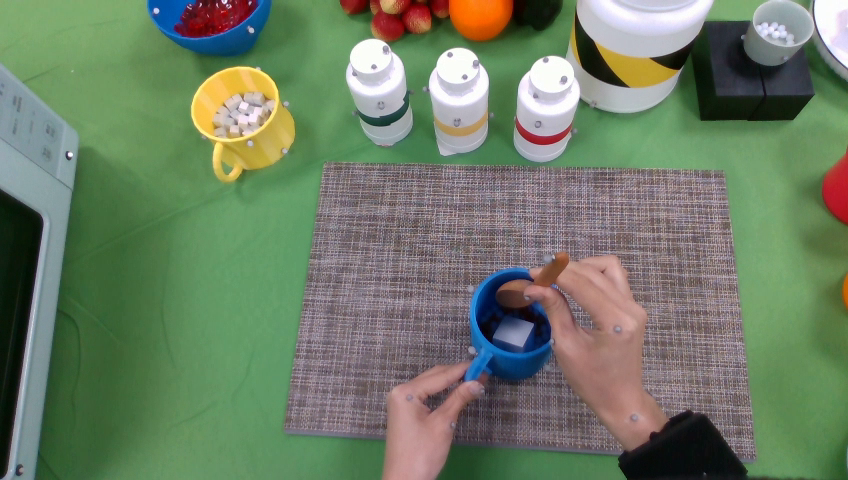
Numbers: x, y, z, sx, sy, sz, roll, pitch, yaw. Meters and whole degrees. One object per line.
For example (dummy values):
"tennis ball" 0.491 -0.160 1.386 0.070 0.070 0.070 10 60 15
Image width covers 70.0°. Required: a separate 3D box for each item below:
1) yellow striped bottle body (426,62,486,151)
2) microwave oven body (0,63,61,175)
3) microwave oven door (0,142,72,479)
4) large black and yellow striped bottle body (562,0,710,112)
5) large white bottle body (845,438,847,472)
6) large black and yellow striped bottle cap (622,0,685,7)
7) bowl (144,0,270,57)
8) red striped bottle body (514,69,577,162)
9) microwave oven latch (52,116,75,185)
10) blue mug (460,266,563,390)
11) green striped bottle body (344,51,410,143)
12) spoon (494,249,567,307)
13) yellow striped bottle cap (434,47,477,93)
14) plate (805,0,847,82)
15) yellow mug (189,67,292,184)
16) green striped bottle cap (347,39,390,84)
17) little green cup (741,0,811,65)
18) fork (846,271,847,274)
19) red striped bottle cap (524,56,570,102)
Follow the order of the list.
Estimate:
"yellow striped bottle body" 0.036 -0.153 0.659 0.063 0.121 0.062 -2 68 5
"microwave oven body" -0.565 0.042 0.553 0.326 0.262 0.438 -7 69 2
"microwave oven door" -0.416 0.062 0.528 0.039 0.245 0.353 -7 68 3
"large black and yellow striped bottle body" 0.222 -0.238 0.642 0.131 0.185 0.130 -2 68 5
"large white bottle body" 0.437 0.176 0.462 0.130 0.186 0.129 -2 68 5
"large black and yellow striped bottle cap" 0.214 -0.268 0.564 0.115 0.019 0.114 -2 67 5
"bowl" -0.258 -0.284 0.757 0.151 0.077 0.150 -1 69 4
"red striped bottle body" 0.128 -0.139 0.646 0.063 0.120 0.062 -3 67 7
"microwave oven latch" -0.427 -0.103 0.702 0.030 0.030 0.078 -6 69 2
"blue mug" 0.072 0.092 0.564 0.082 0.106 0.116 37 76 18
"green striped bottle body" -0.052 -0.164 0.671 0.063 0.120 0.062 -2 68 4
"spoon" 0.086 0.034 0.477 0.041 0.194 0.021 4 79 -1
"yellow striped bottle cap" 0.032 -0.172 0.611 0.044 0.019 0.044 -1 70 4
"plate" 0.543 -0.244 0.697 0.209 0.038 0.207 -1 69 4
"yellow mug" -0.215 -0.126 0.698 0.100 0.064 0.130 12 71 8
"green striped bottle cap" -0.057 -0.184 0.623 0.044 0.020 0.044 -1 68 3
"little green cup" 0.372 -0.220 0.646 0.061 0.039 0.061 -1 66 2
"fork" 0.471 0.060 0.524 0.028 0.019 0.205 -36 26 -8
"red striped bottle cap" 0.122 -0.159 0.598 0.044 0.018 0.044 0 67 1
